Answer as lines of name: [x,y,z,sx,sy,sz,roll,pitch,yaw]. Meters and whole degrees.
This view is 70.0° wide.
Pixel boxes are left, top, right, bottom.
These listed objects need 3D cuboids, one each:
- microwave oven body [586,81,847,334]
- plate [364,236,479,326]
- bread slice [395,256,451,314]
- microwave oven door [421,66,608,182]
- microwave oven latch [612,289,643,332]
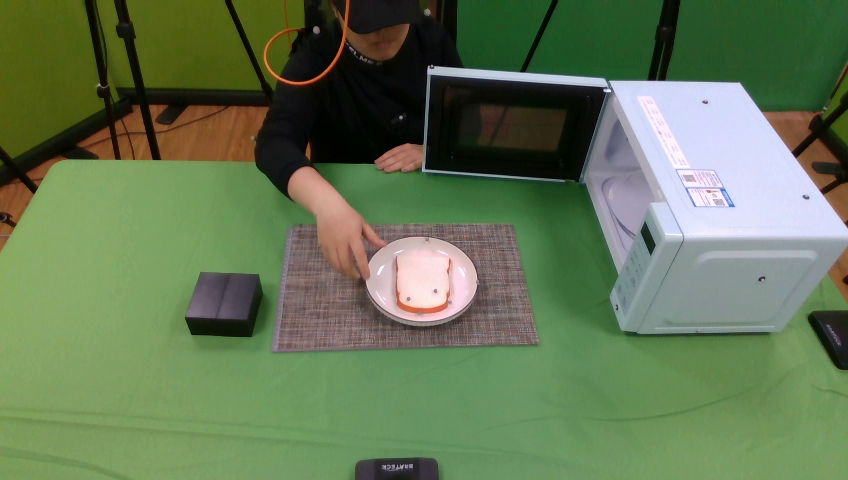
microwave oven body: [0.501,-0.070,1.132,0.326,0.261,0.438,-1,45,-3]
plate: [-0.004,0.078,1.107,0.209,0.038,0.208,2,45,-2]
bread slice: [-0.001,0.079,1.109,0.105,0.019,0.130,2,45,-2]
microwave oven door: [0.177,-0.237,1.264,0.356,0.245,0.039,4,46,0]
microwave oven latch: [0.357,0.124,1.068,0.030,0.029,0.078,0,45,-3]
